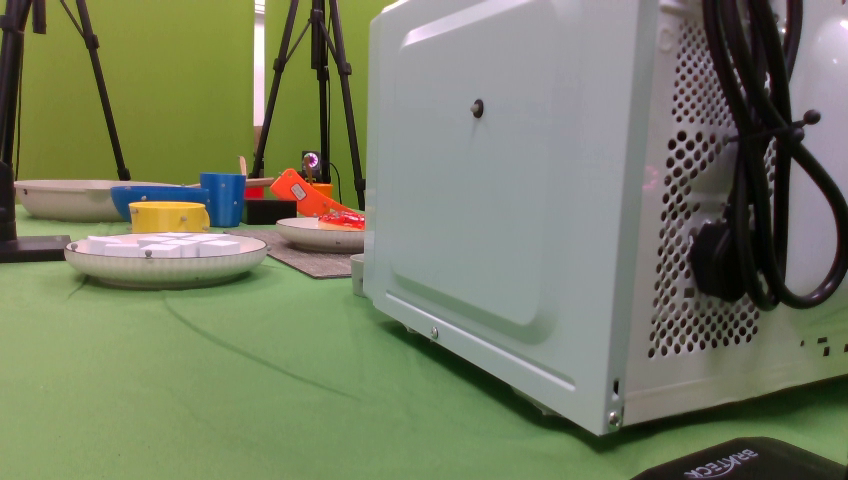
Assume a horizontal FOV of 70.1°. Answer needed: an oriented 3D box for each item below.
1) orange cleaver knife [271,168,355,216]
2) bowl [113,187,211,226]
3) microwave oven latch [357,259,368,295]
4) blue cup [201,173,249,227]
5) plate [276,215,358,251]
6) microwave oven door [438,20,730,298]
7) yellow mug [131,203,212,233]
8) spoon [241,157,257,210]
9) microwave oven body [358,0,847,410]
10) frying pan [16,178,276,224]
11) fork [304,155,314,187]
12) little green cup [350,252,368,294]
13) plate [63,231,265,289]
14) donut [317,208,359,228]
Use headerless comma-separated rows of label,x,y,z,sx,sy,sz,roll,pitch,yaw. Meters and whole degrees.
orange cleaver knife,-0.236,-0.084,1.333,0.212,0.077,0.012,31,-9,-32
bowl,-0.436,-0.046,1.013,0.151,0.077,0.151,2,7,0
microwave oven latch,-0.019,0.031,0.529,0.079,0.029,0.030,-1,7,-26
blue cup,-0.384,-0.077,1.164,0.093,0.100,0.092,2,5,0
plate,-0.126,-0.012,0.950,0.209,0.038,0.209,2,7,0
microwave oven door,0.181,-0.076,0.618,0.358,0.243,0.039,-2,8,-28
yellow mug,-0.356,-0.020,0.878,0.099,0.064,0.131,5,7,22
spoon,-0.432,-0.140,1.472,0.042,0.021,0.193,-1,52,-20
microwave oven body,0.210,-0.051,0.471,0.444,0.260,0.324,-1,7,-28
frying pan,-0.553,-0.097,1.266,0.490,0.102,0.305,-10,13,-24
fork,-0.268,-0.134,1.446,0.028,0.018,0.207,2,-36,-1
little green cup,-0.048,0.034,0.633,0.061,0.038,0.061,3,7,0
plate,-0.288,0.021,0.687,0.208,0.039,0.207,2,8,0
donut,-0.118,-0.024,0.954,0.099,0.048,0.099,6,7,0
